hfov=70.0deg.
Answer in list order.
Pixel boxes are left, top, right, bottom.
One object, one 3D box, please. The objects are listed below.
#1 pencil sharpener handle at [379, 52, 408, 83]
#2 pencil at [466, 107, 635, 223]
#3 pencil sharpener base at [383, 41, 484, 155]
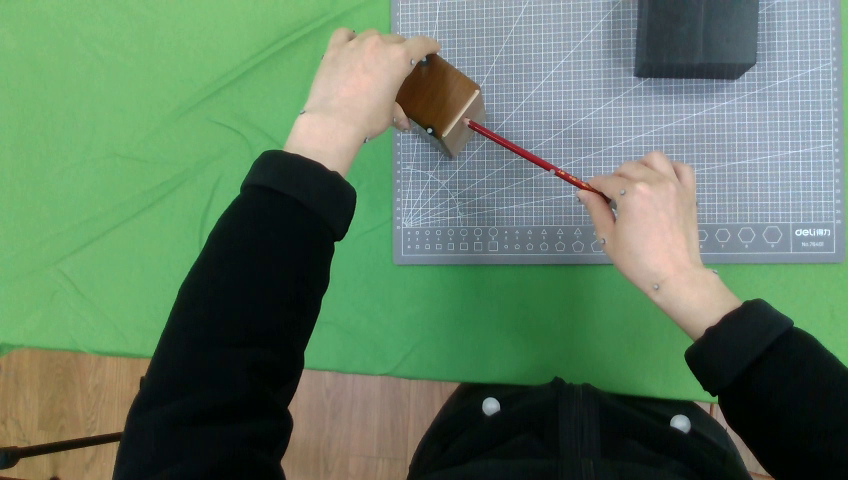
[{"bbox_3d":[-0.033,-0.166,0.586,0.030,0.068,0.036,39,82,8],"label":"pencil sharpener handle"},{"bbox_3d":[0.107,-0.073,0.549,0.193,0.012,0.012,35,93,7],"label":"pencil"},{"bbox_3d":[0.011,-0.136,0.593,0.076,0.107,0.061,39,94,7],"label":"pencil sharpener base"}]
